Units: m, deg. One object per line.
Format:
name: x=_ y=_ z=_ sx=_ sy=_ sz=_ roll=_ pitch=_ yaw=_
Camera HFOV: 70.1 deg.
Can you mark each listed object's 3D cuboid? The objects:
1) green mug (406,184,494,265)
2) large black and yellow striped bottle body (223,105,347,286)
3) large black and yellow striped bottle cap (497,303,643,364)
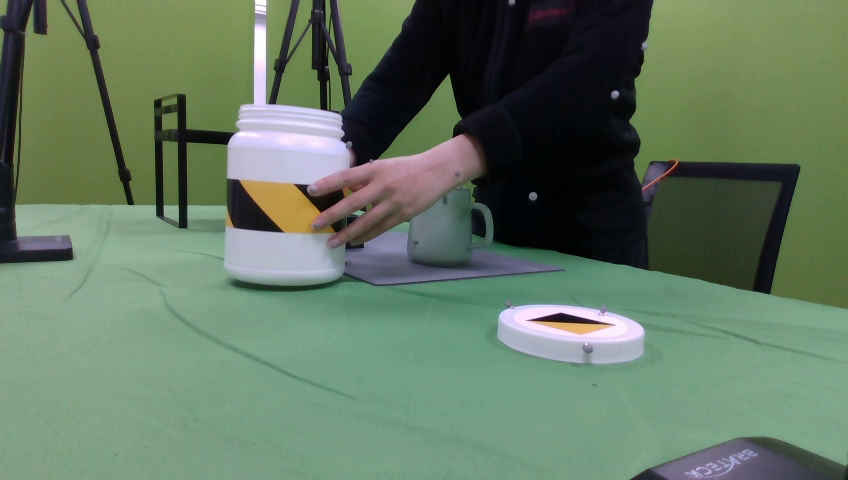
green mug: x=0.038 y=-0.021 z=0.826 sx=0.125 sy=0.105 sz=0.093 roll=6 pitch=7 yaw=30
large black and yellow striped bottle body: x=-0.152 y=-0.050 z=0.666 sx=0.131 sy=0.184 sz=0.130 roll=3 pitch=6 yaw=0
large black and yellow striped bottle cap: x=0.116 y=0.072 z=0.486 sx=0.115 sy=0.019 sz=0.115 roll=2 pitch=8 yaw=0
